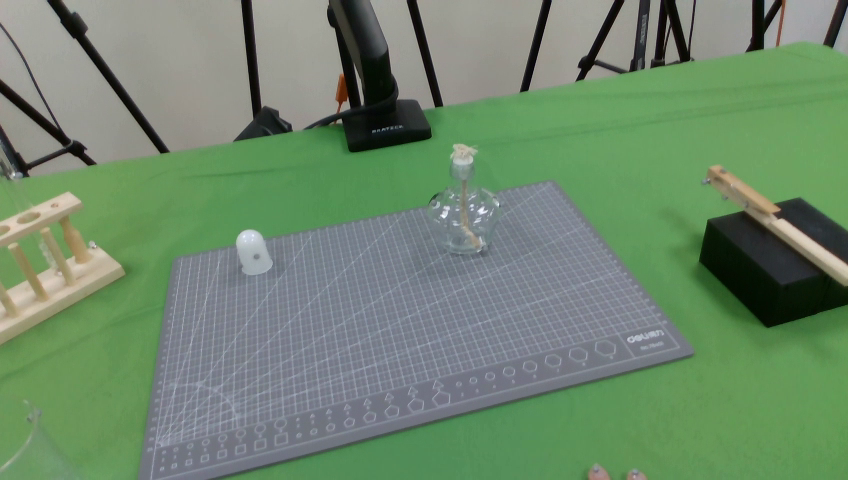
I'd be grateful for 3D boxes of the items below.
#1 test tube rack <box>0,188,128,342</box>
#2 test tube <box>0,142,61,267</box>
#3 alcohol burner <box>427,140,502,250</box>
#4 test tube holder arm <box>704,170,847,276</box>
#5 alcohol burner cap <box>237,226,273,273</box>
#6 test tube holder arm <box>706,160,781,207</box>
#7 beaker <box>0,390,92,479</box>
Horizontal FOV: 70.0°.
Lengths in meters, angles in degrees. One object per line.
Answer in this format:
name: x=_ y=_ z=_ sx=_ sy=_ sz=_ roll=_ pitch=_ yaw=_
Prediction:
test tube rack: x=-0.432 y=0.049 z=0.588 sx=0.066 sy=0.086 sz=0.242 roll=26 pitch=48 yaw=35
test tube: x=-0.400 y=-0.036 z=0.610 sx=0.017 sy=0.151 sz=0.017 roll=-6 pitch=33 yaw=5
alcohol burner: x=0.041 y=-0.049 z=0.618 sx=0.078 sy=0.120 sz=0.077 roll=-3 pitch=37 yaw=2
test tube holder arm: x=0.315 y=-0.023 z=0.546 sx=0.015 sy=0.013 sz=0.176 roll=-13 pitch=37 yaw=-10
alcohol burner cap: x=-0.180 y=0.008 z=0.635 sx=0.034 sy=0.048 sz=0.033 roll=-4 pitch=37 yaw=4
test tube holder arm: x=0.302 y=-0.052 z=0.577 sx=0.015 sy=0.010 sz=0.087 roll=-13 pitch=38 yaw=-10
beaker: x=-0.276 y=0.162 z=0.405 sx=0.084 sy=0.101 sz=0.073 roll=-8 pitch=37 yaw=0
